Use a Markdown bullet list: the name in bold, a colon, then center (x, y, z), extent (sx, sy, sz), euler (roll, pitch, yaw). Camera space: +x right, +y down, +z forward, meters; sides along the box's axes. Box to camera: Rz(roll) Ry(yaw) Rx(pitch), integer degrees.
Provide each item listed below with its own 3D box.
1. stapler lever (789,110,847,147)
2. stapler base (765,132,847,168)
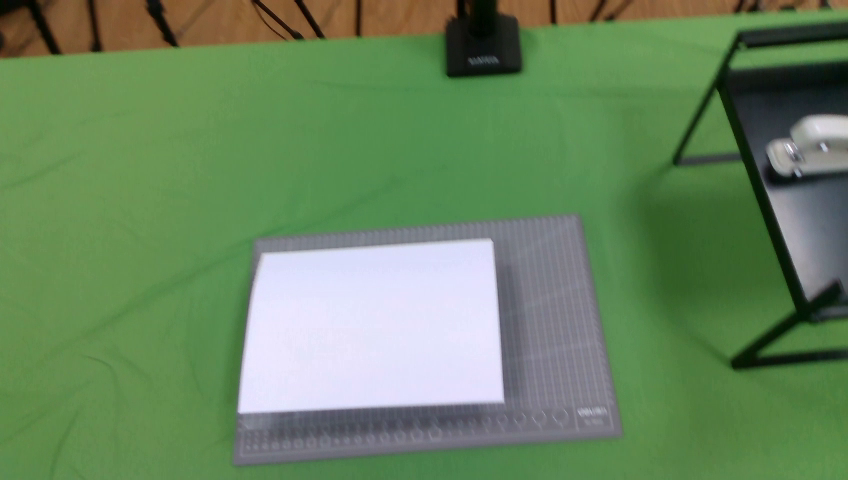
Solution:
- **stapler lever**: center (0.428, -0.115, 0.610), extent (0.118, 0.040, 0.026), euler (-6, 66, -1)
- **stapler base**: center (0.428, -0.103, 0.632), extent (0.130, 0.024, 0.041), euler (-6, 66, -1)
